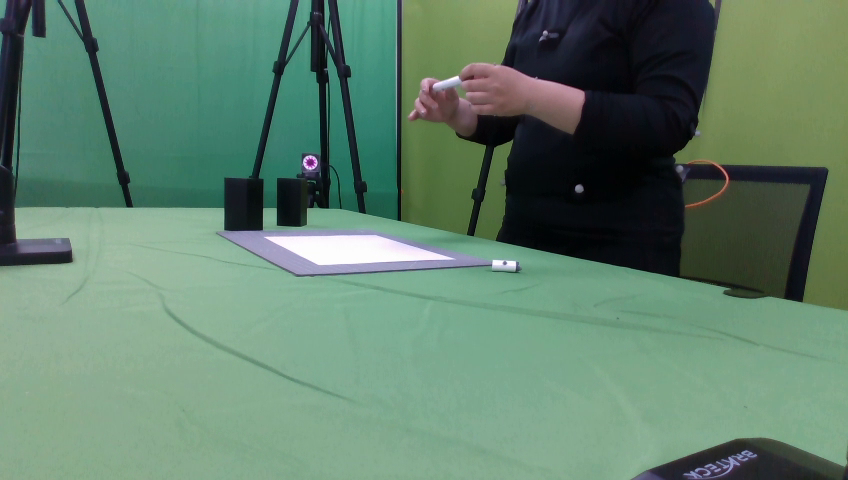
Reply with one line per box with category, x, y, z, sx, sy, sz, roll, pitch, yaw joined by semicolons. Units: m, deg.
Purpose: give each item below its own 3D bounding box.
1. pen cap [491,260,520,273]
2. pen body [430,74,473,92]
pen cap;0.110;0.036;0.813;0.038;0.017;0.017;3;7;7
pen body;0.050;-0.281;1.084;0.017;0.017;0.143;-1;5;-26
